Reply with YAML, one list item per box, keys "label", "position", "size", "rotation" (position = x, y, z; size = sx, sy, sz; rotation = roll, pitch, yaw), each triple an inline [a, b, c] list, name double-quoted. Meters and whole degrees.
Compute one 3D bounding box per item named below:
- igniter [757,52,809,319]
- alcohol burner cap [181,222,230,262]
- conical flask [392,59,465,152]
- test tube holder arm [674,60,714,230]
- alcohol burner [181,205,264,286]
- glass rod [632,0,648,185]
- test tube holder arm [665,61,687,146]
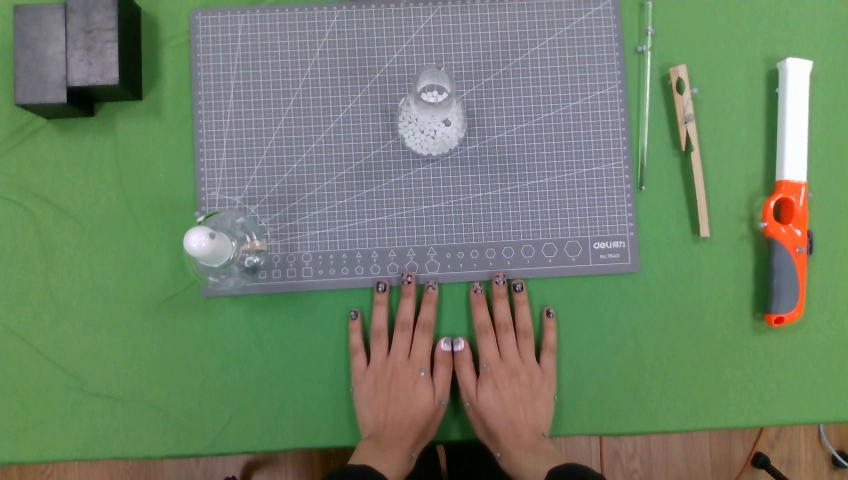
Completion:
- label: "igniter"
  position: [0.372, -0.056, 0.624]
  size: [0.057, 0.025, 0.276]
  rotation: [5, 87, -11]
- label: "alcohol burner cap"
  position: [-0.193, 0.000, 0.527]
  size: [0.034, 0.048, 0.033]
  rotation: [0, 78, 0]
- label: "conical flask"
  position: [0.005, -0.130, 0.570]
  size: [0.075, 0.122, 0.075]
  rotation: [0, 87, -1]
- label: "test tube holder arm"
  position: [0.278, -0.098, 0.627]
  size: [0.013, 0.015, 0.178]
  rotation: [-13, 86, 34]
- label: "alcohol burner"
  position: [-0.192, 0.004, 0.563]
  size: [0.078, 0.119, 0.077]
  rotation: [0, 85, 1]
- label: "glass rod"
  position: [0.227, -0.157, 0.635]
  size: [0.008, 0.008, 0.199]
  rotation: [4, 89, -1]
- label: "test tube holder arm"
  position: [0.265, -0.142, 0.632]
  size: [0.010, 0.015, 0.087]
  rotation: [-11, 87, 35]
